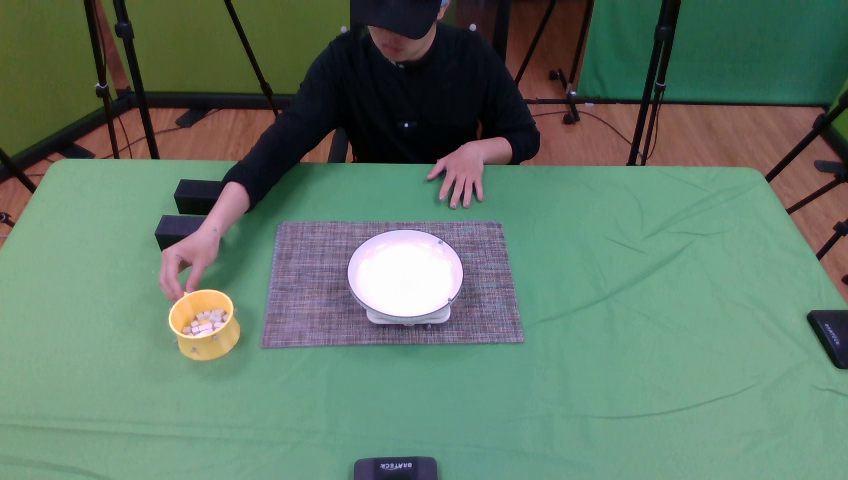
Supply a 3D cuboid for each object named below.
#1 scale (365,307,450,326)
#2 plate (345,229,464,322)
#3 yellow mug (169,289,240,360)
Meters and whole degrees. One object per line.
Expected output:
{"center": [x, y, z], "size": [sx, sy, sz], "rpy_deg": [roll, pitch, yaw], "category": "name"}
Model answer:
{"center": [-0.032, 0.071, 1.113], "size": [0.149, 0.032, 0.199], "rpy_deg": [1, 46, -4], "category": "scale"}
{"center": [-0.034, 0.065, 1.073], "size": [0.209, 0.038, 0.208], "rpy_deg": [2, 46, -2], "category": "plate"}
{"center": [-0.373, 0.130, 1.012], "size": [0.100, 0.064, 0.130], "rpy_deg": [-33, 55, -30], "category": "yellow mug"}
